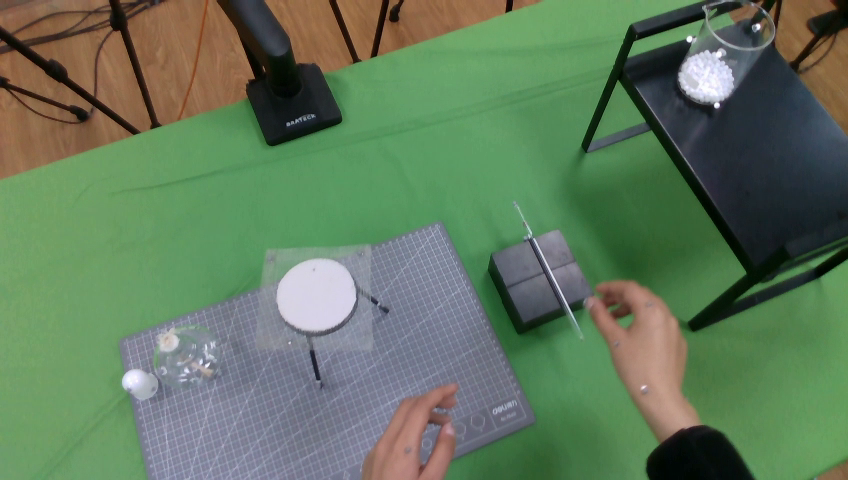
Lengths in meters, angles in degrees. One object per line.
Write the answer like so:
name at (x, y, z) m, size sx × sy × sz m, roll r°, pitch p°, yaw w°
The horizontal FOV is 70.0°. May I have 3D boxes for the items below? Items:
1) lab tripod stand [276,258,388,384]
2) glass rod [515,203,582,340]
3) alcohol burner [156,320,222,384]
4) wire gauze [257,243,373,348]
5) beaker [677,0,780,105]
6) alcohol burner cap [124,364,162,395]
lab tripod stand at (-0.115, 0.085, 0.728) m, size 0.148 × 0.132 × 0.147 m, roll 0°, pitch 63°, yaw -1°
glass rod at (0.157, 0.036, 0.773) m, size 0.008 × 0.008 × 0.198 m, roll -18°, pitch 67°, yaw -8°
alcohol burner at (-0.283, 0.128, 0.716) m, size 0.078 × 0.120 × 0.077 m, roll 1°, pitch 64°, yaw -2°
wire gauze at (-0.117, 0.060, 0.665) m, size 0.125 × 0.011 × 0.120 m, roll 0°, pitch 65°, yaw -1°
beaker at (0.340, -0.212, 0.694) m, size 0.083 × 0.101 × 0.074 m, roll 42°, pitch 71°, yaw 18°
alcohol burner cap at (-0.344, 0.168, 0.736) m, size 0.034 × 0.048 × 0.033 m, roll -1°, pitch 66°, yaw 3°
